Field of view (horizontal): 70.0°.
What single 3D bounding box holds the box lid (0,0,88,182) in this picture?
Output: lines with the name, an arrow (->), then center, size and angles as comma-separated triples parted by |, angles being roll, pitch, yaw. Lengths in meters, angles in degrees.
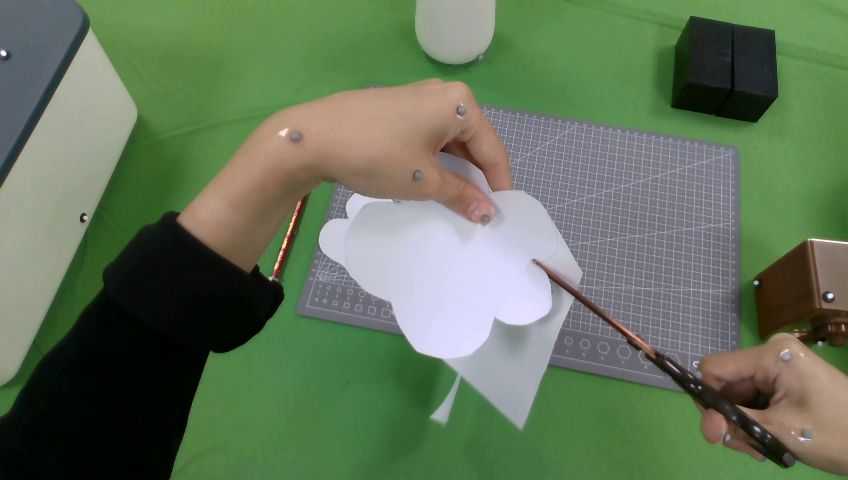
box lid -> -0.479, -0.092, 0.521 | 0.263, 0.015, 0.369 | 11, 66, 3

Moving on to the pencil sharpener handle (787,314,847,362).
pencil sharpener handle -> 0.362, 0.091, 0.554 | 0.036, 0.068, 0.030 | 12, 66, -11

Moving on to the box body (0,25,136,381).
box body -> -0.480, -0.060, 0.589 | 0.254, 0.161, 0.361 | 11, 67, 4

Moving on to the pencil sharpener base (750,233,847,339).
pencil sharpener base -> 0.372, 0.050, 0.585 | 0.061, 0.108, 0.076 | 6, 67, 2

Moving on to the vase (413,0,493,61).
vase -> 0.034, -0.297, 0.680 | 0.098, 0.201, 0.097 | 0, 65, 1

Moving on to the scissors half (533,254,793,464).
scissors half -> 0.129, 0.063, 0.334 | 0.174, 0.040, 0.013 | 39, 88, 7

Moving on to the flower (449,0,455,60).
flower -> 0.030, -0.344, 0.609 | 0.044, 0.365, 0.038 | 4, 49, 5

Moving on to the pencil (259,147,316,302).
pencil -> -0.145, -0.023, 0.663 | 0.012, 0.012, 0.193 | 11, 66, 5

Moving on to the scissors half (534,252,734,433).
scissors half -> 0.129, 0.062, 0.354 | 0.176, 0.040, 0.013 | 39, 94, -11
